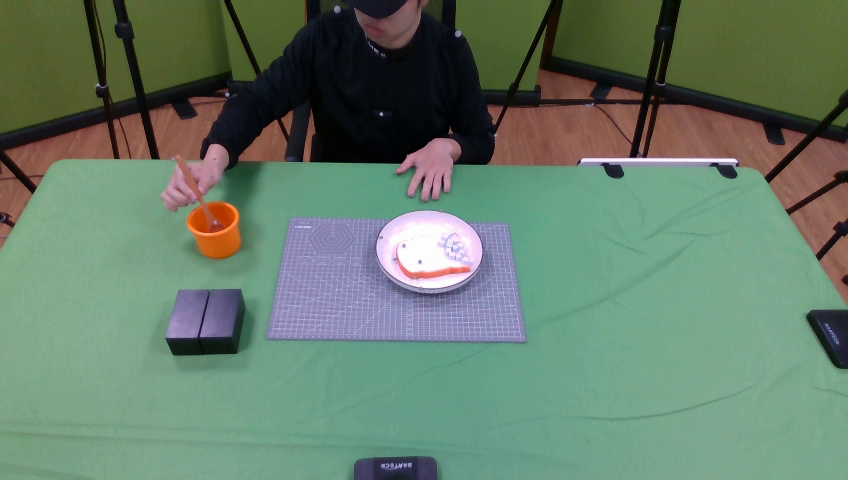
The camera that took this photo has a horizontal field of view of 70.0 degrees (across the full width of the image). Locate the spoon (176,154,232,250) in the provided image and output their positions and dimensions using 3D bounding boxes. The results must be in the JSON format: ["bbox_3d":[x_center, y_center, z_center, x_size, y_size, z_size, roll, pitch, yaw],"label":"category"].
[{"bbox_3d":[-0.399,-0.067,1.097,0.041,0.195,0.021,-22,30,-9],"label":"spoon"}]

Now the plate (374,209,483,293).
[{"bbox_3d":[0.009,0.024,1.160,0.209,0.038,0.208,2,46,-2],"label":"plate"}]

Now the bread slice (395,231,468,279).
[{"bbox_3d":[0.011,0.030,1.158,0.132,0.019,0.104,-8,47,-14],"label":"bread slice"}]
